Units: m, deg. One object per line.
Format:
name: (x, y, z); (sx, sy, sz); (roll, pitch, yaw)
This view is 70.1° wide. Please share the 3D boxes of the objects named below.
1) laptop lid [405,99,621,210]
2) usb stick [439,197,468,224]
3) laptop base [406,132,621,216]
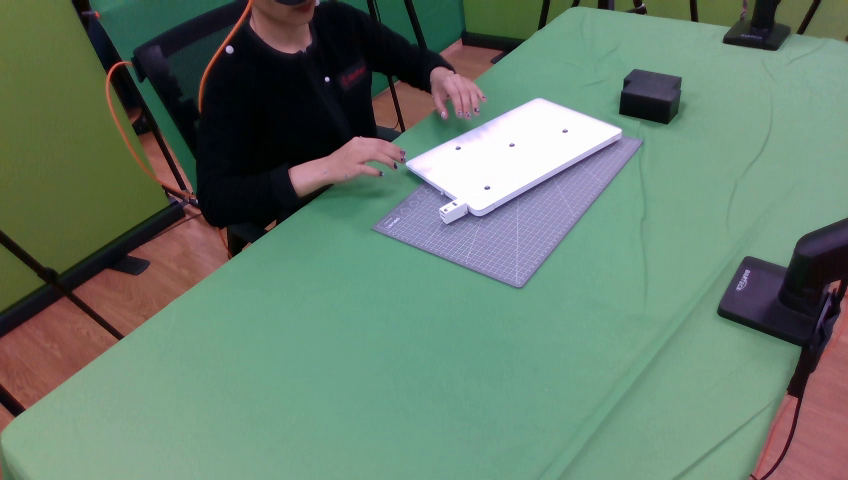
laptop lid: (0.166, -0.177, 1.146); (0.358, 0.013, 0.239); (-28, 40, -21)
usb stick: (0.055, -0.053, 1.017); (0.059, 0.027, 0.021); (-26, 40, -22)
laptop base: (0.169, -0.167, 1.151); (0.356, 0.023, 0.233); (-29, 39, -22)
